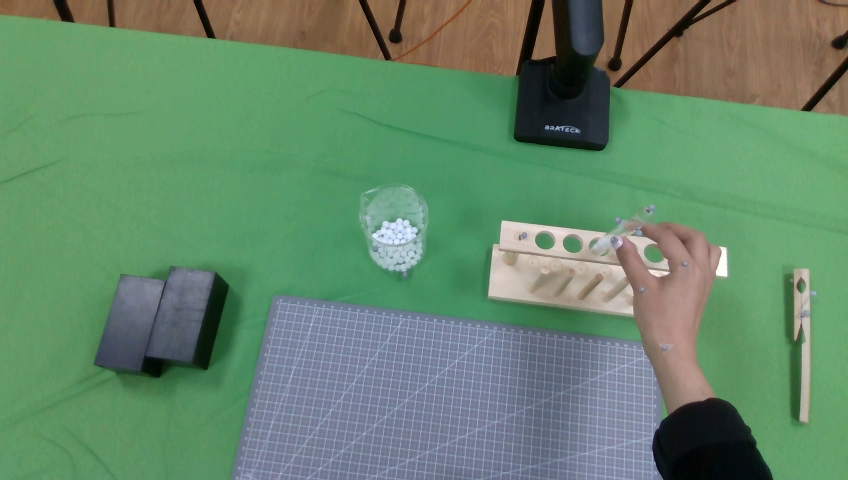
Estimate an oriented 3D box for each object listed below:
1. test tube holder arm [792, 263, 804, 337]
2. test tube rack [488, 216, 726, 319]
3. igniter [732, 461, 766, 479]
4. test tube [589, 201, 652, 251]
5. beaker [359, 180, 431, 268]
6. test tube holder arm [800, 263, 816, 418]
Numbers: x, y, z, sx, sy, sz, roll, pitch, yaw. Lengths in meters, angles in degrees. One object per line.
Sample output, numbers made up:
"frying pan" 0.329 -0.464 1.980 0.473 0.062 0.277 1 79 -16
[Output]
"test tube holder arm" 0.440 0.070 0.711 0.010 0.015 0.087 -5 66 36
"test tube rack" 0.199 0.033 0.683 0.242 0.085 0.066 7 70 1
"igniter" 0.312 0.361 0.597 0.057 0.025 0.275 17 70 -6
"test tube" 0.193 -0.008 0.618 0.017 0.151 0.017 1 74 -5
"beaker" -0.035 -0.015 0.687 0.083 0.101 0.074 34 72 12
"test tube holder arm" 0.438 0.112 0.693 0.013 0.015 0.177 -7 65 35
